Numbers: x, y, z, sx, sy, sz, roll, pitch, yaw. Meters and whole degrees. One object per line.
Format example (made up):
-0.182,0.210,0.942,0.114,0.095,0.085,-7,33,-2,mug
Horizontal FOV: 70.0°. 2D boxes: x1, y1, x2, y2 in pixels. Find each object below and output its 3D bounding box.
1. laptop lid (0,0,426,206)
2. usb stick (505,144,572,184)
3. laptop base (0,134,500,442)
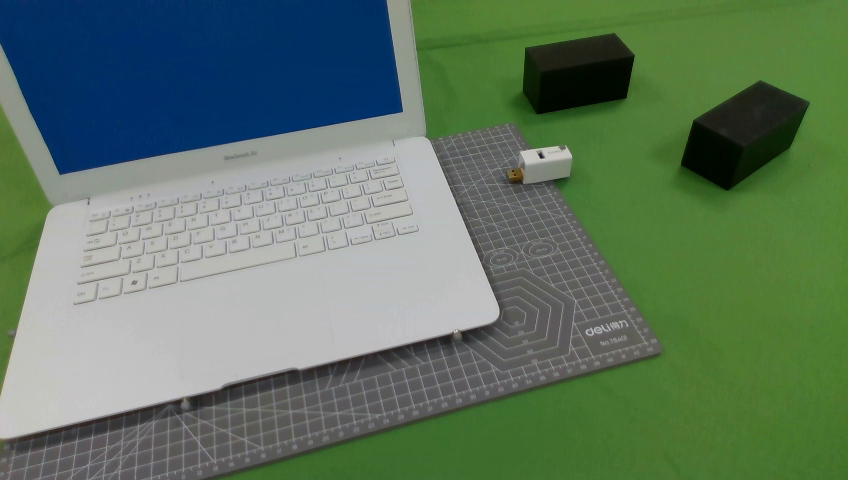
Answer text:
-0.182,-0.162,0.517,0.357,0.244,0.013,-14,32,-7,laptop lid
0.103,-0.069,0.555,0.059,0.027,0.021,-11,45,-3,usb stick
-0.139,0.019,0.498,0.355,0.023,0.233,-12,50,-8,laptop base
